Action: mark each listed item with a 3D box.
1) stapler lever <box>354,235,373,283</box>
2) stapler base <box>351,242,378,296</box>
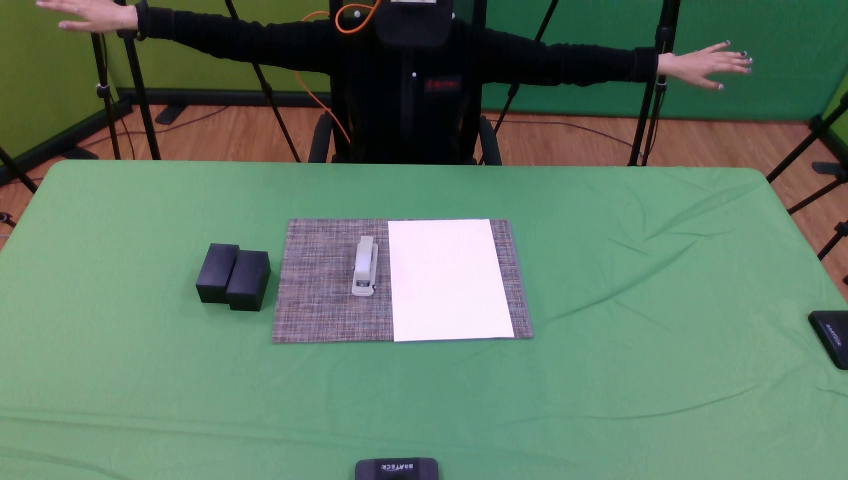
[{"bbox_3d":[-0.110,0.029,1.122,0.027,0.040,0.117,5,45,-3],"label":"stapler lever"},{"bbox_3d":[-0.111,0.047,1.139,0.041,0.024,0.130,5,45,-4],"label":"stapler base"}]
